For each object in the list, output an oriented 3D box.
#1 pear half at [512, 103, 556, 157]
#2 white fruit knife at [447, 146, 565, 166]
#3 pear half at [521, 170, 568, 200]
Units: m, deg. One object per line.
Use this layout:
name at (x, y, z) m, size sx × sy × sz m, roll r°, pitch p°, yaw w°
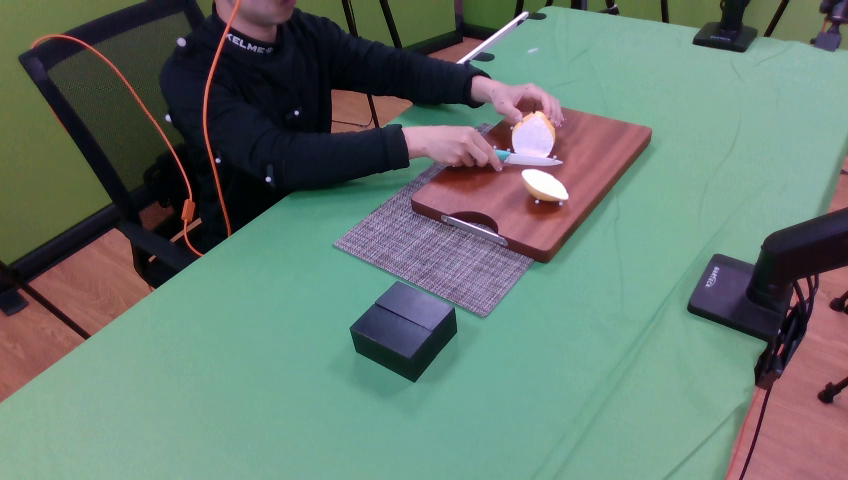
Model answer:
pear half at (0.195, -0.197, 1.060) m, size 0.076 × 0.110 × 0.056 m, roll 5°, pitch 43°, yaw 7°
white fruit knife at (0.144, -0.147, 1.065) m, size 0.207 × 0.027 × 0.016 m, roll 7°, pitch 47°, yaw 6°
pear half at (0.195, -0.083, 0.984) m, size 0.071 × 0.031 × 0.087 m, roll -19°, pitch 50°, yaw -35°
